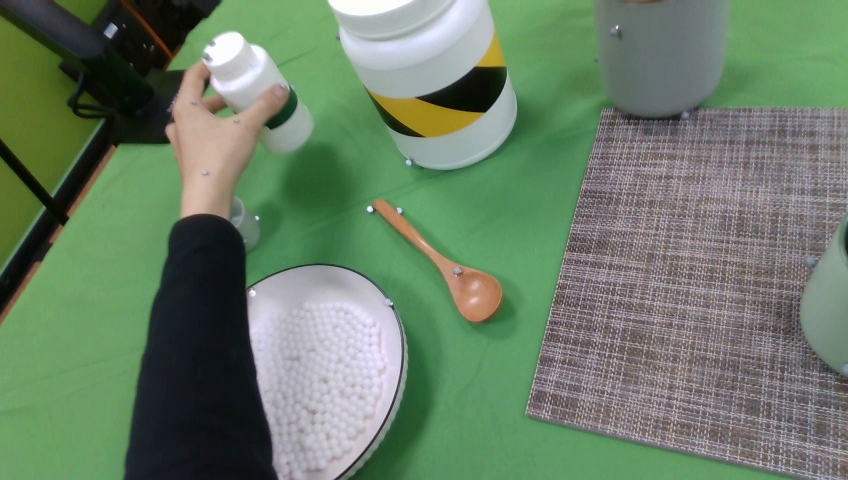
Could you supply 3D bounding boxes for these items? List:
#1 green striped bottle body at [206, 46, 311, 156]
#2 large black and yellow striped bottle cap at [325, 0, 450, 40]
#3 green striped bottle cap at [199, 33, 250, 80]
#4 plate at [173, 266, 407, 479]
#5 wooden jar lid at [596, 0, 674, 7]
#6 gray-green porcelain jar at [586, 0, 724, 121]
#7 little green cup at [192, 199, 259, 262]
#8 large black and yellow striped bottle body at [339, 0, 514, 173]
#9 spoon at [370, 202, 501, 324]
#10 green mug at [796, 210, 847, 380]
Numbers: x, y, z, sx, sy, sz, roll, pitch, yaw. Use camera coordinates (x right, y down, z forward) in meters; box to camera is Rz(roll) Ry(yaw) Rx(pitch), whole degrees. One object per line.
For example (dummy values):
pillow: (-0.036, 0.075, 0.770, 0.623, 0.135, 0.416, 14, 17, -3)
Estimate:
green striped bottle body: (-0.168, -0.143, 0.603, 0.063, 0.120, 0.062, -11, 56, 17)
large black and yellow striped bottle cap: (-0.026, -0.208, 0.493, 0.115, 0.019, 0.114, -10, 54, 15)
green striped bottle cap: (-0.184, -0.170, 0.561, 0.044, 0.020, 0.044, -9, 60, 17)
plate: (-0.108, 0.119, 0.506, 0.209, 0.038, 0.207, -11, 54, 15)
wooden jar lid: (0.179, -0.212, 0.472, 0.108, 0.021, 0.107, -13, 51, 17)
gray-green porcelain jar: (0.197, -0.175, 0.520, 0.105, 0.128, 0.105, -11, 51, 14)
little green cup: (-0.205, -0.008, 0.631, 0.061, 0.039, 0.061, -11, 54, 16)
large black and yellow striped bottle body: (0.002, -0.165, 0.558, 0.130, 0.186, 0.129, -11, 55, 16)
spoon: (0.003, 0.011, 0.543, 0.041, 0.022, 0.191, -53, 53, 7)
green mug: (0.292, 0.035, 0.350, 0.124, 0.106, 0.092, 15, 64, 30)
